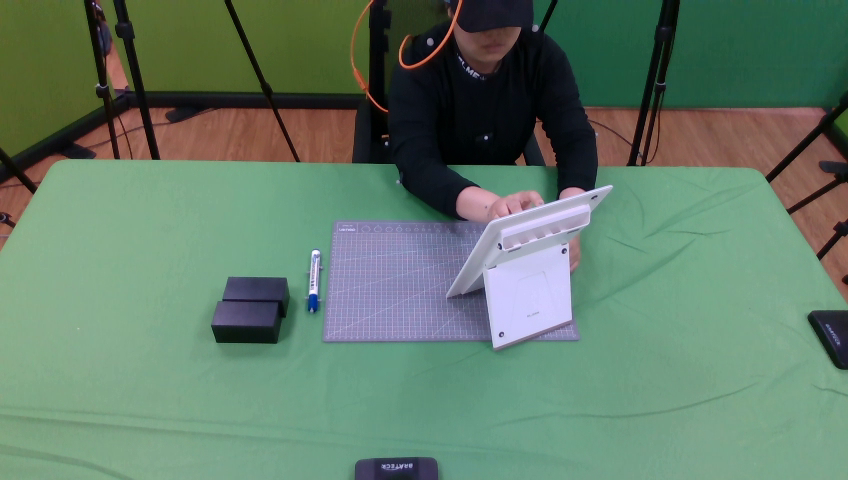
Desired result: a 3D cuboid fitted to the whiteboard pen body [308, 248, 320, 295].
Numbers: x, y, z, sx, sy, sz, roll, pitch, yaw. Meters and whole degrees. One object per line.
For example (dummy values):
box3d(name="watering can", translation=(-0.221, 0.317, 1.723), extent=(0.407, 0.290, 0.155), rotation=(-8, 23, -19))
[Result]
box3d(name="whiteboard pen body", translation=(-0.204, 0.069, 1.119), extent=(0.017, 0.017, 0.140), rotation=(-1, 46, -5))

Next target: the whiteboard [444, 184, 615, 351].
box3d(name="whiteboard", translation=(0.187, 0.065, 0.989), extent=(0.217, 0.306, 0.143), rotation=(-16, 68, -19))

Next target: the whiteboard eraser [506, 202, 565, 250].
box3d(name="whiteboard eraser", translation=(0.187, -0.021, 1.020), extent=(0.056, 0.113, 0.041), rotation=(-11, 69, -25))

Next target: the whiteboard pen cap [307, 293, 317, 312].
box3d(name="whiteboard pen cap", translation=(-0.199, 0.110, 1.078), extent=(0.018, 0.018, 0.033), rotation=(-2, 47, -6))
